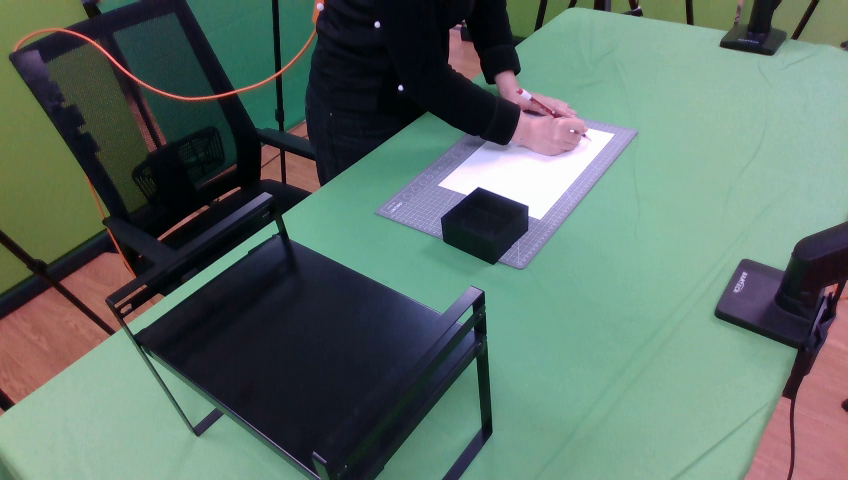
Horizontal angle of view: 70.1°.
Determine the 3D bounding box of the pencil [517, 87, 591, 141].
[{"bbox_3d":[0.244,-0.229,1.116,0.195,0.012,0.012,26,31,-28],"label":"pencil"}]
